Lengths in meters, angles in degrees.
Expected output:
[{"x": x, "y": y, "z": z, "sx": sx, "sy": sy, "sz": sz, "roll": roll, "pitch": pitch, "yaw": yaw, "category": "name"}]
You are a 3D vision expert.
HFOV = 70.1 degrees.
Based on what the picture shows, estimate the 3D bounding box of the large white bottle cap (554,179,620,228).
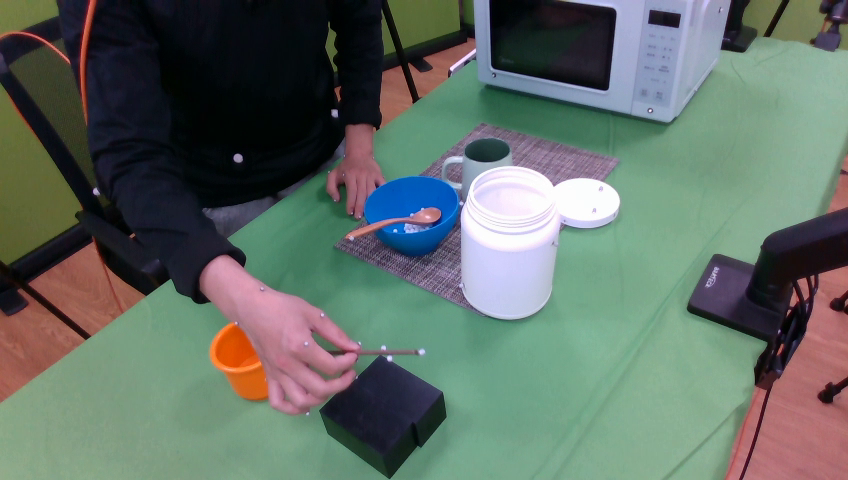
[{"x": 0.265, "y": -0.062, "z": 1.001, "sx": 0.115, "sy": 0.018, "sz": 0.114, "roll": -3, "pitch": 41, "yaw": 3, "category": "large white bottle cap"}]

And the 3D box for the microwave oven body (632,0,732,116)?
[{"x": 0.377, "y": -0.462, "z": 1.267, "sx": 0.438, "sy": 0.261, "sz": 0.327, "roll": 21, "pitch": 49, "yaw": 30, "category": "microwave oven body"}]

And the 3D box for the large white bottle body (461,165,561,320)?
[{"x": 0.115, "y": 0.004, "z": 0.816, "sx": 0.130, "sy": 0.185, "sz": 0.130, "roll": -2, "pitch": 43, "yaw": 2, "category": "large white bottle body"}]

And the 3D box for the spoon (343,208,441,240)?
[{"x": -0.046, "y": -0.025, "z": 0.912, "sx": 0.041, "sy": 0.021, "sz": 0.195, "roll": 27, "pitch": 27, "yaw": 37, "category": "spoon"}]

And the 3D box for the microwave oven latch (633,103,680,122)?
[{"x": 0.444, "y": -0.249, "z": 1.157, "sx": 0.078, "sy": 0.029, "sz": 0.030, "roll": 21, "pitch": 49, "yaw": 30, "category": "microwave oven latch"}]

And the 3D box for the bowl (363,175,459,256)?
[{"x": -0.016, "y": -0.029, "z": 0.955, "sx": 0.151, "sy": 0.077, "sz": 0.150, "roll": -4, "pitch": 40, "yaw": 4, "category": "bowl"}]

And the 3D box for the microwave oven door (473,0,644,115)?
[{"x": 0.257, "y": -0.396, "z": 1.199, "sx": 0.353, "sy": 0.245, "sz": 0.039, "roll": 21, "pitch": 48, "yaw": 29, "category": "microwave oven door"}]

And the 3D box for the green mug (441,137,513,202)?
[{"x": 0.091, "y": -0.108, "z": 1.012, "sx": 0.125, "sy": 0.105, "sz": 0.092, "roll": 2, "pitch": 42, "yaw": 11, "category": "green mug"}]

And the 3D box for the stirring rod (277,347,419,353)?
[{"x": -0.087, "y": 0.121, "z": 0.667, "sx": 0.175, "sy": 0.014, "sz": 0.006, "roll": -4, "pitch": 75, "yaw": 22, "category": "stirring rod"}]
